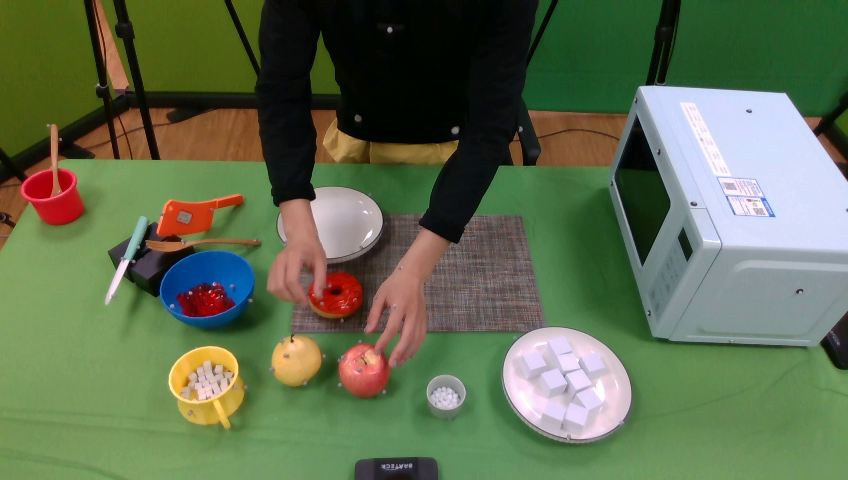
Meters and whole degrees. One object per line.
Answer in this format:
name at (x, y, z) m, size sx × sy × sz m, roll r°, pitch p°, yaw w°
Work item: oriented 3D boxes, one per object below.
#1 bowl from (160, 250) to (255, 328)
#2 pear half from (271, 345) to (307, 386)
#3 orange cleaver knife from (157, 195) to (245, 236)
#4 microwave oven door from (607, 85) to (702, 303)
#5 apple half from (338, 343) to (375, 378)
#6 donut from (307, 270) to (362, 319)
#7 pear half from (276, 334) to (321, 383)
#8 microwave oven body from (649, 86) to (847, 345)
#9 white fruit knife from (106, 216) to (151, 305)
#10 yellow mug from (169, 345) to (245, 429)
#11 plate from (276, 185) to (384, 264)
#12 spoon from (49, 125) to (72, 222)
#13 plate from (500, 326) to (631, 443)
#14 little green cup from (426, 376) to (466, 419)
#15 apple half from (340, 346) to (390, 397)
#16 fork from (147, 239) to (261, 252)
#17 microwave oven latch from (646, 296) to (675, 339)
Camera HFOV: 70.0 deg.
bowl at (-0.362, 0.097, 1.040) m, size 0.151 × 0.077 × 0.150 m, roll 2°, pitch 45°, yaw -2°
pear half at (-0.216, 0.200, 0.943) m, size 0.070 × 0.088 × 0.031 m, roll 27°, pitch 49°, yaw 15°
orange cleaver knife at (-0.427, -0.050, 1.175) m, size 0.012 × 0.077 × 0.211 m, roll 23°, pitch 19°, yaw 20°
microwave oven door at (0.423, -0.094, 1.140) m, size 0.039 × 0.245 × 0.353 m, roll 2°, pitch 46°, yaw -1°
apple half at (-0.112, 0.192, 0.968) m, size 0.081 × 0.081 × 0.032 m, roll -32°, pitch 59°, yaw -30°
donut at (-0.157, 0.097, 1.073) m, size 0.099 × 0.048 × 0.098 m, roll 4°, pitch 45°, yaw -4°
pear half at (-0.195, 0.172, 0.957) m, size 0.076 × 0.110 × 0.056 m, roll 28°, pitch 51°, yaw 16°
microwave oven body at (0.568, -0.053, 1.118) m, size 0.326 × 0.261 × 0.439 m, roll 2°, pitch 45°, yaw -1°
white fruit knife at (-0.519, 0.032, 1.066) m, size 0.027 × 0.016 × 0.206 m, roll -18°, pitch 45°, yaw 19°
yellow mug at (-0.323, 0.230, 0.922) m, size 0.100 × 0.064 × 0.130 m, roll -24°, pitch 53°, yaw -25°
plate at (-0.184, -0.027, 1.195) m, size 0.209 × 0.038 × 0.208 m, roll 2°, pitch 46°, yaw -2°
spoon at (-0.717, -0.132, 1.189) m, size 0.042 × 0.021 × 0.193 m, roll -3°, pitch 90°, yaw -8°
plate at (0.224, 0.234, 0.978) m, size 0.208 × 0.039 × 0.206 m, roll 2°, pitch 46°, yaw -2°
little green cup at (0.033, 0.248, 0.950) m, size 0.061 × 0.039 × 0.061 m, roll 2°, pitch 46°, yaw -2°
apple half at (-0.085, 0.215, 0.950) m, size 0.081 × 0.075 × 0.053 m, roll -29°, pitch 58°, yaw -32°
fork at (-0.399, 0.007, 1.118) m, size 0.208 × 0.019 × 0.028 m, roll -4°, pitch 36°, yaw -36°
microwave oven latch at (0.412, 0.134, 1.061) m, size 0.030 × 0.029 × 0.078 m, roll 4°, pitch 45°, yaw 1°
